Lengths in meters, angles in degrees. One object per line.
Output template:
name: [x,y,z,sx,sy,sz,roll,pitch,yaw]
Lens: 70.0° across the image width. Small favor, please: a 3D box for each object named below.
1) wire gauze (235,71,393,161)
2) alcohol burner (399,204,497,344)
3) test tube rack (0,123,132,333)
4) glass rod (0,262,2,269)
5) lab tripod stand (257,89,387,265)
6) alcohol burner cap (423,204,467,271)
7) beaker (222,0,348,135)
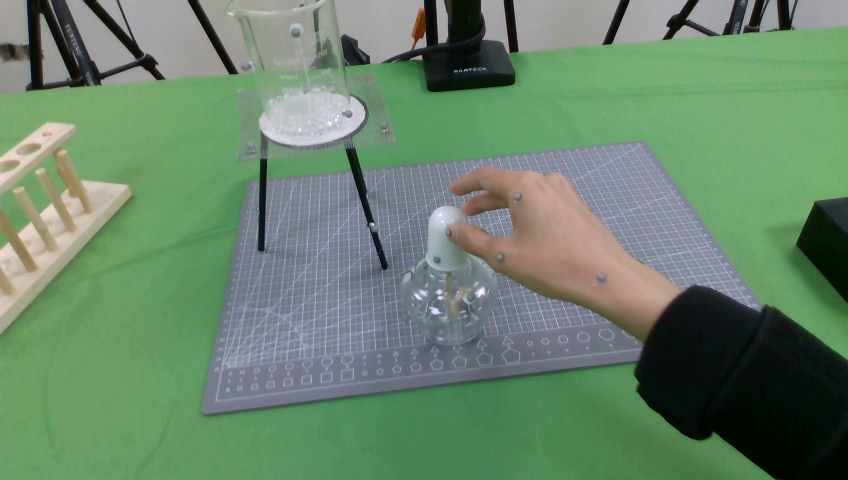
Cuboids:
wire gauze: [-0.096,-0.104,0.504,0.125,0.011,0.120,-12,40,-5]
alcohol burner: [0.018,0.023,0.466,0.078,0.120,0.077,-3,39,3]
test tube rack: [-0.379,-0.006,0.554,0.066,0.086,0.240,7,42,11]
glass rod: [-0.410,-0.054,0.510,0.008,0.201,0.008,-6,35,5]
lab tripod stand: [-0.092,-0.055,0.548,0.148,0.133,0.147,-2,43,3]
alcohol burner cap: [0.015,-0.003,0.442,0.034,0.048,0.033,-1,38,1]
beaker: [-0.102,-0.140,0.471,0.084,0.101,0.073,-11,42,-6]
